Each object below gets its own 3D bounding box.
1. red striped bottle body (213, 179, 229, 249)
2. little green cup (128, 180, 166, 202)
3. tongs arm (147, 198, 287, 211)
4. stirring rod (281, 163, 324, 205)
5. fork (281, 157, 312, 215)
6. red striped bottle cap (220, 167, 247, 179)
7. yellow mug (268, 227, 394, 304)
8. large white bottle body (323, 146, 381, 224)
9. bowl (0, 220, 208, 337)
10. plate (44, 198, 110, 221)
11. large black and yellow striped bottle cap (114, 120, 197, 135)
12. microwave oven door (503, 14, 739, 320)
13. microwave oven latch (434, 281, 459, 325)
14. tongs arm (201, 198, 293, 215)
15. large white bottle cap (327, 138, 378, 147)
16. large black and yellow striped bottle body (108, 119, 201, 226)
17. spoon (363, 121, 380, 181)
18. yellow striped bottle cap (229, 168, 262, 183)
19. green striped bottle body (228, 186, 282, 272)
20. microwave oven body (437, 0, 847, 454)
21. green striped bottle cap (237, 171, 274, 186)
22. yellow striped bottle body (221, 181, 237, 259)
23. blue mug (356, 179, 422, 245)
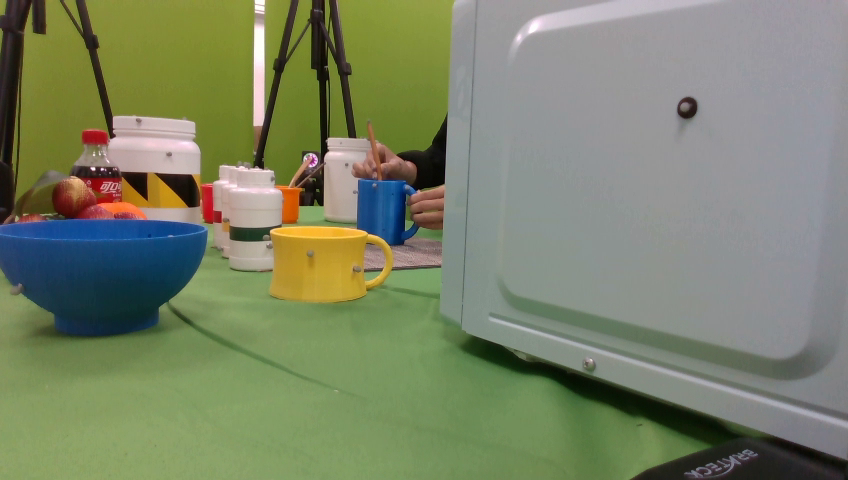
[{"bbox_3d":[-0.284,-0.048,0.909,0.063,0.119,0.063,3,10,0],"label":"red striped bottle body"},{"bbox_3d":[-0.485,-0.087,1.062,0.061,0.038,0.061,-1,6,0],"label":"little green cup"},{"bbox_3d":[-0.504,-0.091,1.513,0.028,0.028,0.389,0,4,37],"label":"tongs arm"},{"bbox_3d":[-0.278,-0.105,1.293,0.176,0.006,0.014,-47,25,-18],"label":"stirring rod"},{"bbox_3d":[-0.289,-0.116,1.321,0.028,0.019,0.207,6,51,19],"label":"fork"},{"bbox_3d":[-0.281,-0.100,0.901,0.044,0.017,0.044,-1,5,0],"label":"red striped bottle cap"},{"bbox_3d":[-0.094,0.023,0.629,0.131,0.064,0.099,0,7,-22],"label":"yellow mug"},{"bbox_3d":[-0.163,-0.134,1.369,0.131,0.184,0.130,2,8,0],"label":"large white bottle body"},{"bbox_3d":[-0.251,0.029,0.479,0.151,0.077,0.151,2,7,0],"label":"bowl"},{"bbox_3d":[-0.617,-0.056,1.179,0.209,0.038,0.209,3,7,0],"label":"plate"},{"bbox_3d":[-0.407,-0.171,0.920,0.115,0.019,0.115,2,9,0],"label":"large black and yellow striped bottle cap"},{"bbox_3d":[0.218,-0.065,0.600,0.358,0.243,0.039,-4,10,-41],"label":"microwave oven door"},{"bbox_3d":[0.044,0.045,0.470,0.079,0.029,0.030,-2,8,-39],"label":"microwave oven latch"},{"bbox_3d":[-0.423,-0.084,1.472,0.050,0.026,0.386,2,6,21],"label":"tongs arm"},{"bbox_3d":[-0.160,-0.218,1.357,0.115,0.018,0.115,2,8,0],"label":"large white bottle cap"},{"bbox_3d":[-0.412,-0.088,0.930,0.131,0.184,0.130,3,7,0],"label":"large black and yellow striped bottle body"},{"bbox_3d":[-0.081,-0.108,1.025,0.021,0.193,0.041,-8,-5,6],"label":"spoon"},{"bbox_3d":[-0.240,-0.087,0.816,0.044,0.018,0.044,-3,5,1],"label":"yellow striped bottle cap"},{"bbox_3d":[-0.208,-0.023,0.745,0.063,0.119,0.063,2,7,0],"label":"green striped bottle body"},{"bbox_3d":[0.279,-0.040,0.464,0.444,0.260,0.324,-3,9,-41],"label":"microwave oven body"},{"bbox_3d":[-0.206,-0.075,0.738,0.044,0.020,0.044,1,7,0],"label":"green striped bottle cap"},{"bbox_3d":[-0.244,-0.035,0.823,0.063,0.120,0.063,2,8,0],"label":"yellow striped bottle body"},{"bbox_3d":[-0.057,-0.046,1.006,0.116,0.106,0.082,5,8,21],"label":"blue mug"}]
